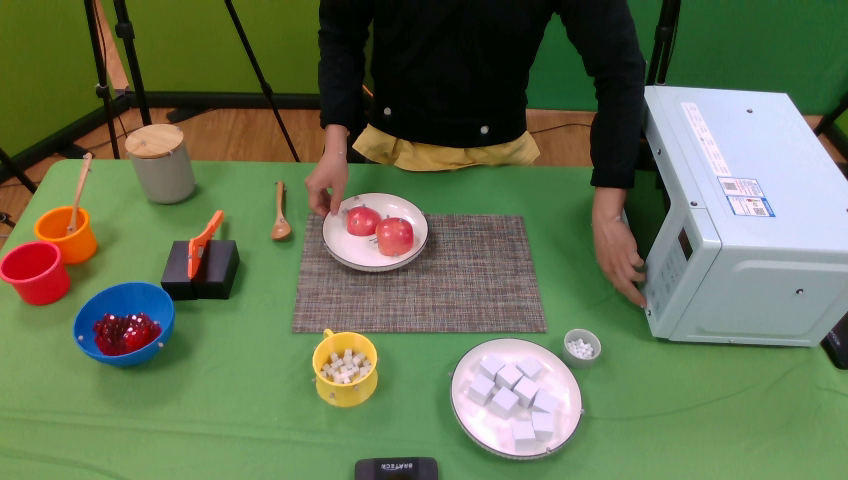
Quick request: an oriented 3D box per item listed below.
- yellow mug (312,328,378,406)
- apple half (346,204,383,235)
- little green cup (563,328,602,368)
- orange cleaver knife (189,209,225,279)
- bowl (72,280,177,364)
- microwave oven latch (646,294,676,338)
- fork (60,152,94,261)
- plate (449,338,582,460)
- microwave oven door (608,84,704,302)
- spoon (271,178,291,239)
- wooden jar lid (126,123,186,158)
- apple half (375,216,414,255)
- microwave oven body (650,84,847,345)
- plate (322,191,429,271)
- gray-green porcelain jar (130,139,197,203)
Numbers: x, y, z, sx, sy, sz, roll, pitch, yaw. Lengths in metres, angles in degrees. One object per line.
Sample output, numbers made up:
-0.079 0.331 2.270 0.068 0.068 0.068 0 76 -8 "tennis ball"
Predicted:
-0.132 0.193 0.971 0.100 0.064 0.130 -22 51 -22 "yellow mug"
-0.119 -0.049 1.207 0.081 0.033 0.081 3 50 -3 "apple half"
0.265 0.184 1.025 0.061 0.039 0.061 1 46 -1 "little green cup"
-0.401 0.002 1.122 0.012 0.077 0.210 4 23 -4 "orange cleaver knife"
-0.473 0.147 0.982 0.151 0.077 0.150 2 46 -2 "bowl"
0.412 0.133 1.060 0.030 0.029 0.078 3 46 0 "microwave oven latch"
-0.638 -0.063 1.119 0.028 0.018 0.207 12 90 7 "fork"
0.141 0.251 0.956 0.208 0.039 0.206 2 46 -2 "plate"
0.424 -0.096 1.138 0.039 0.245 0.353 2 46 -1 "microwave oven door"
-0.293 -0.068 1.237 0.041 0.022 0.192 -19 48 7 "spoon"
-0.519 -0.190 1.179 0.108 0.021 0.107 2 44 -2 "wooden jar lid"
-0.056 -0.017 1.169 0.075 0.053 0.080 0 46 -7 "apple half"
0.569 -0.054 1.116 0.326 0.261 0.439 2 46 -1 "microwave oven body"
-0.093 -0.015 1.185 0.209 0.038 0.208 2 46 -2 "plate"
-0.522 -0.148 1.225 0.106 0.127 0.105 2 47 -2 "gray-green porcelain jar"
